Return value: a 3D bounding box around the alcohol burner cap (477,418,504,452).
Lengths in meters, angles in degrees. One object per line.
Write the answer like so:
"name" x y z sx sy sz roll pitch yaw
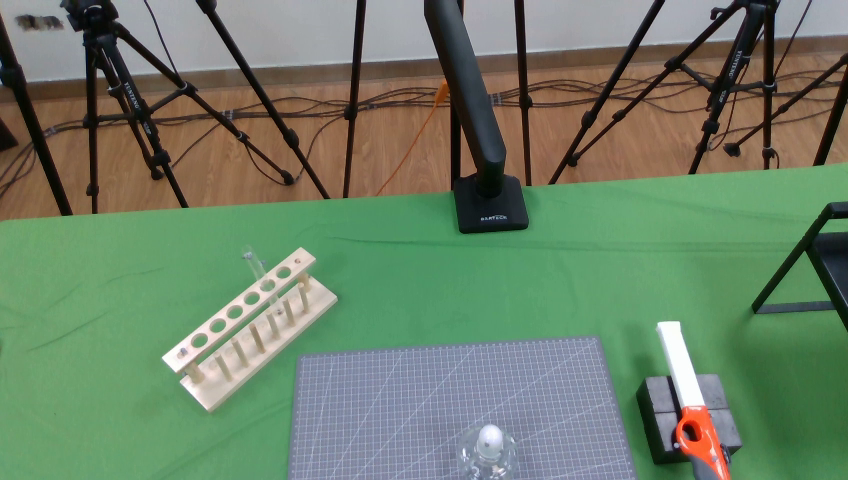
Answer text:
"alcohol burner cap" 0.080 0.230 0.723 0.034 0.048 0.033 -3 55 4

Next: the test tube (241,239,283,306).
"test tube" -0.229 0.050 0.864 0.017 0.152 0.017 -3 51 5

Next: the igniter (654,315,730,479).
"igniter" 0.343 0.217 0.774 0.057 0.025 0.273 -2 51 2

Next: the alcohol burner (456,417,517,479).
"alcohol burner" 0.079 0.251 0.752 0.078 0.120 0.077 1 51 0

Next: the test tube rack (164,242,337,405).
"test tube rack" -0.241 0.117 0.876 0.066 0.086 0.242 35 61 24
